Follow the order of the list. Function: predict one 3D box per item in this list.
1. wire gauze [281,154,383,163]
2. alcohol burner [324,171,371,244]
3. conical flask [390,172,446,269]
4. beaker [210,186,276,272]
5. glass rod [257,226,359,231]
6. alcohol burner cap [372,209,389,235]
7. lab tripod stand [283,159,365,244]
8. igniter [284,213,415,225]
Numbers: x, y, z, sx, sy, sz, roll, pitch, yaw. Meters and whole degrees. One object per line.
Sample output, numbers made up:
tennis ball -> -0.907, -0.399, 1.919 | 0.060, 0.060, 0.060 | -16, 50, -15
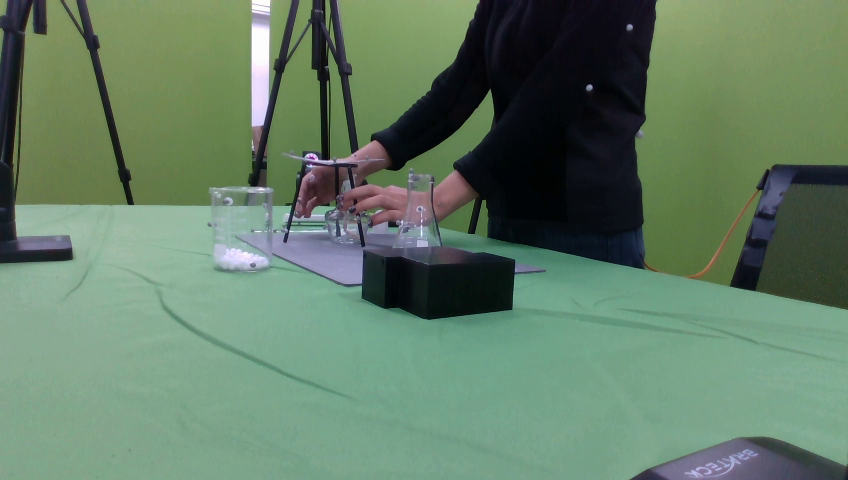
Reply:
wire gauze -> -0.146, -0.130, 0.977 | 0.124, 0.011, 0.122 | 9, 10, 41
alcohol burner -> -0.126, -0.053, 0.996 | 0.078, 0.119, 0.078 | 3, 7, 0
conical flask -> -0.006, -0.027, 0.790 | 0.075, 0.122, 0.075 | 2, 7, 0
beaker -> -0.224, -0.014, 0.738 | 0.084, 0.100, 0.074 | 4, 7, 16
glass rod -> -0.215, -0.022, 1.151 | 0.201, 0.008, 0.008 | -2, 8, -28
alcohol burner cap -> -0.082, -0.035, 1.143 | 0.034, 0.048, 0.034 | 3, 6, 0
lab tripod stand -> -0.151, -0.063, 0.983 | 0.148, 0.131, 0.148 | 4, 6, 0
igniter -> -0.154, -0.045, 1.282 | 0.278, 0.025, 0.057 | 0, -3, -20
